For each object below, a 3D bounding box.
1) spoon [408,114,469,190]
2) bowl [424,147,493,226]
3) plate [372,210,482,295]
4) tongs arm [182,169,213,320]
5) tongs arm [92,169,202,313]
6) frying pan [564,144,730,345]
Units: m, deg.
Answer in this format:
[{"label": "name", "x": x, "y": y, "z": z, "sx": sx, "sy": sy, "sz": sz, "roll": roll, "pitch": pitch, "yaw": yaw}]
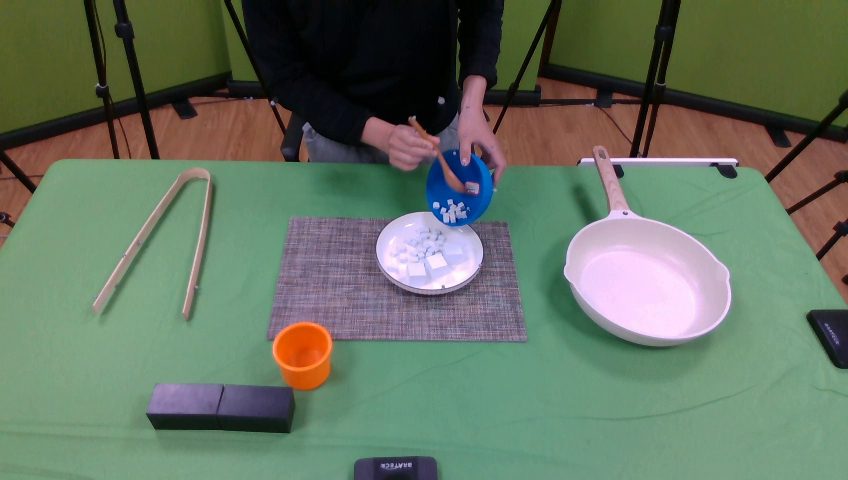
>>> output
[{"label": "spoon", "x": 0.027, "y": -0.160, "z": 1.125, "sx": 0.021, "sy": 0.195, "sz": 0.041, "roll": -49, "pitch": 32, "yaw": -19}, {"label": "bowl", "x": 0.080, "y": -0.102, "z": 1.176, "sx": 0.077, "sy": 0.152, "sz": 0.150, "roll": -4, "pitch": 40, "yaw": -46}, {"label": "plate", "x": 0.005, "y": 0.028, "z": 1.155, "sx": 0.208, "sy": 0.039, "sz": 0.206, "roll": 2, "pitch": 46, "yaw": -2}, {"label": "tongs arm", "x": -0.436, "y": -0.006, "z": 1.166, "sx": 0.028, "sy": 0.028, "sz": 0.385, "roll": -5, "pitch": 46, "yaw": -6}, {"label": "tongs arm", "x": -0.518, "y": -0.012, "z": 1.160, "sx": 0.051, "sy": 0.026, "sz": 0.382, "roll": 7, "pitch": 45, "yaw": 1}, {"label": "frying pan", "x": 0.396, "y": -0.008, "z": 1.179, "sx": 0.307, "sy": 0.103, "sz": 0.484, "roll": 0, "pitch": 55, "yaw": -5}]
